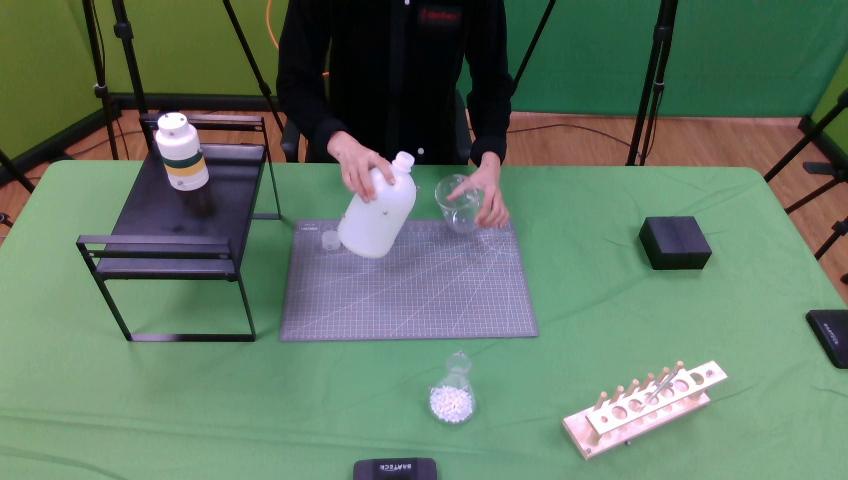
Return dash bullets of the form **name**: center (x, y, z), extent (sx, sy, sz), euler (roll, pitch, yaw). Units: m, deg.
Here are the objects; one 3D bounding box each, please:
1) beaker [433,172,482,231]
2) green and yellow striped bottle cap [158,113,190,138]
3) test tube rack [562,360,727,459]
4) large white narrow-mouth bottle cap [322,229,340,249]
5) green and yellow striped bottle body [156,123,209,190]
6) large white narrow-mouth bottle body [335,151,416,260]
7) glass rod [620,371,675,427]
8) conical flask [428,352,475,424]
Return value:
- **beaker**: center (0.068, -0.067, 1.120), extent (0.084, 0.101, 0.073), euler (11, 67, 21)
- **green and yellow striped bottle cap**: center (-0.393, -0.180, 0.951), extent (0.045, 0.020, 0.045), euler (2, 44, -2)
- **test tube rack**: center (0.341, 0.247, 0.940), extent (0.243, 0.085, 0.066), euler (-16, 49, -18)
- **large white narrow-mouth bottle cap**: center (-0.182, -0.003, 1.184), extent (0.038, 0.024, 0.037), euler (3, 45, -3)
- **green and yellow striped bottle body**: center (-0.395, -0.145, 0.989), extent (0.063, 0.120, 0.063), euler (2, 46, -2)
- **large white narrow-mouth bottle body**: center (-0.072, -0.067, 1.053), extent (0.102, 0.195, 0.101), euler (27, 23, -12)
- **glass rod**: center (0.316, 0.230, 0.863), extent (0.008, 0.200, 0.008), euler (3, 54, -3)
- **conical flask**: center (0.046, 0.220, 0.920), extent (0.075, 0.122, 0.075), euler (2, 46, -2)
